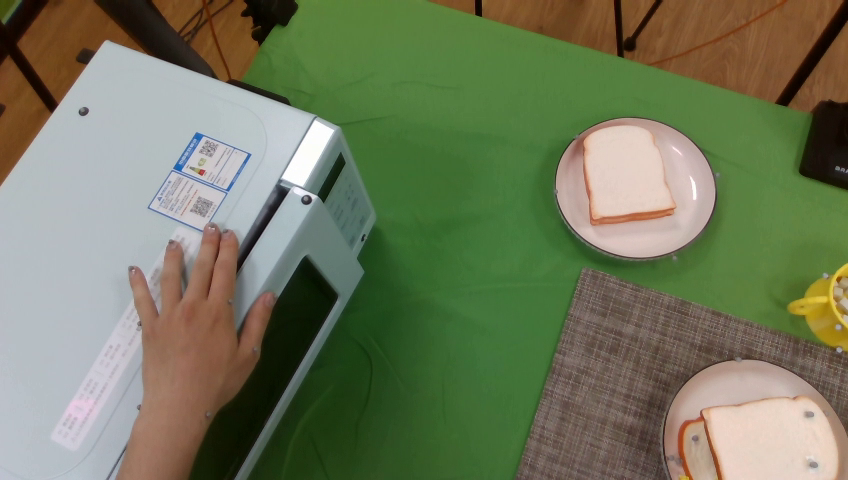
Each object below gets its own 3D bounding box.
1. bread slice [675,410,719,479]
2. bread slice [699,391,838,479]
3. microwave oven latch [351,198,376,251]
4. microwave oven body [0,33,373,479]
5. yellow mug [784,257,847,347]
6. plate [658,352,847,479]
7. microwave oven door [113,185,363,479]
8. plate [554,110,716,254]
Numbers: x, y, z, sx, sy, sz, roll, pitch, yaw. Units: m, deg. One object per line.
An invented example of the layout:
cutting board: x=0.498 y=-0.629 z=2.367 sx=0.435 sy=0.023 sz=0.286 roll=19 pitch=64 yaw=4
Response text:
bread slice: x=0.359 y=0.239 z=0.693 sx=0.131 sy=0.019 sz=0.104 roll=-11 pitch=69 yaw=-1
bread slice: x=0.364 y=0.212 z=0.637 sx=0.134 sy=0.018 sz=0.106 roll=-12 pitch=76 yaw=-7
microwave oven latch: x=-0.092 y=-0.021 z=0.807 sx=0.030 sy=0.030 sz=0.079 roll=25 pitch=75 yaw=13
microwave oven body: x=-0.308 y=0.047 z=0.699 sx=0.325 sy=0.262 sz=0.440 roll=22 pitch=74 yaw=12
yellow mug: x=0.504 y=0.074 z=0.726 sx=0.131 sy=0.064 sz=0.099 roll=-1 pitch=70 yaw=6
plate: x=0.371 y=0.234 z=0.691 sx=0.209 sy=0.038 sz=0.207 roll=-2 pitch=70 yaw=5
microwave oven door: x=-0.186 y=0.138 z=0.650 sx=0.039 sy=0.245 sz=0.354 roll=24 pitch=74 yaw=13
plate: x=0.278 y=-0.076 z=0.814 sx=0.207 sy=0.039 sz=0.206 roll=-2 pitch=70 yaw=5
